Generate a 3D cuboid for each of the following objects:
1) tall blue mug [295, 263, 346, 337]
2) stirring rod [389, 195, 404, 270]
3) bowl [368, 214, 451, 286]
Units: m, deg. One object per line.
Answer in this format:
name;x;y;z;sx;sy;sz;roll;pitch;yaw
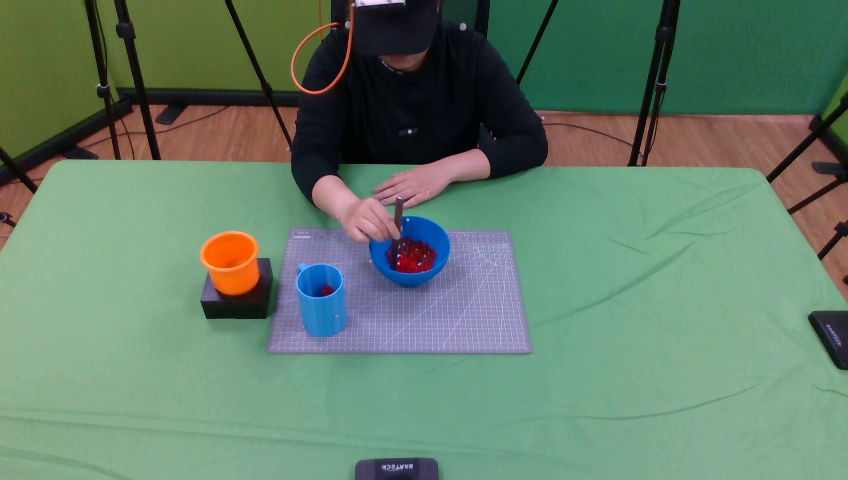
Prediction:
tall blue mug;-0.187;0.096;1.027;0.107;0.108;0.077;21;49;16
stirring rod;-0.048;-0.009;1.054;0.014;0.177;0.006;23;47;14
bowl;-0.028;0.031;1.122;0.151;0.077;0.150;2;46;-2
